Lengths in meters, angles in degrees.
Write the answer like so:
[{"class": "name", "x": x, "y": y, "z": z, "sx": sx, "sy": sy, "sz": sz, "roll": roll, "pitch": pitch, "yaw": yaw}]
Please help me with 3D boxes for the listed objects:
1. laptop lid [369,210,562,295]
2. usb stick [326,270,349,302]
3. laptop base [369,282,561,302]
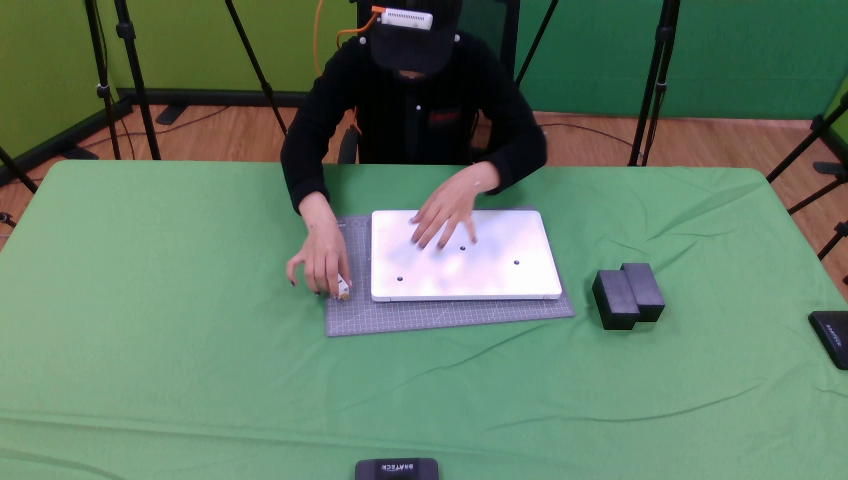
[{"class": "laptop lid", "x": 0.073, "y": 0.018, "z": 1.172, "sx": 0.357, "sy": 0.013, "sz": 0.240, "roll": 1, "pitch": 44, "yaw": -3}, {"class": "usb stick", "x": -0.153, "y": 0.084, "z": 1.086, "sx": 0.021, "sy": 0.027, "sz": 0.059, "roll": -25, "pitch": 60, "yaw": -26}, {"class": "laptop base", "x": 0.072, "y": 0.028, "z": 1.179, "sx": 0.355, "sy": 0.023, "sz": 0.234, "roll": 0, "pitch": 43, "yaw": -5}]
